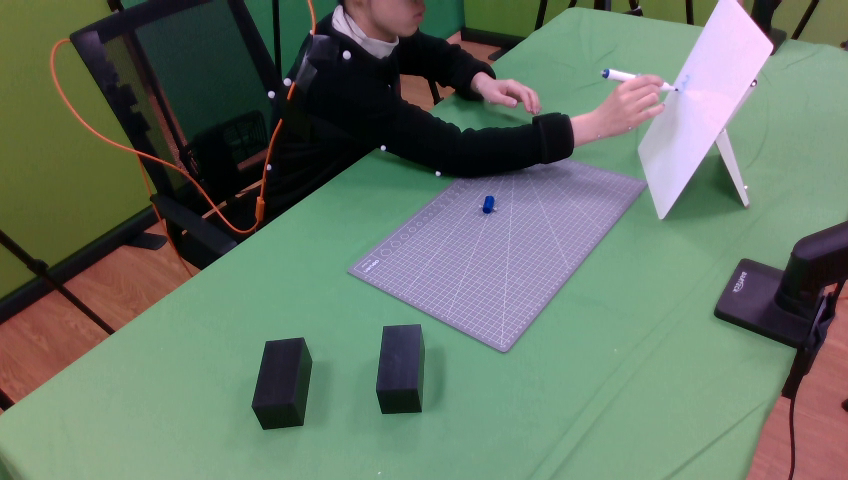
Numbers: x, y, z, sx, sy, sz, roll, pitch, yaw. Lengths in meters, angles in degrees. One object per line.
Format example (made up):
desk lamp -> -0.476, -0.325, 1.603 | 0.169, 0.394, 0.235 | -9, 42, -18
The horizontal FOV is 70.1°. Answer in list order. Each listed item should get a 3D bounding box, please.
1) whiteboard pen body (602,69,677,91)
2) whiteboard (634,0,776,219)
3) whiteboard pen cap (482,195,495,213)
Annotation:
whiteboard pen body -> 0.358, -0.262, 0.999 | 0.141, 0.017, 0.017 | 8, 38, -14
whiteboard -> 0.485, -0.192, 0.956 | 0.144, 0.305, 0.216 | 14, 41, -5
whiteboard pen cap -> 0.109, -0.060, 1.028 | 0.018, 0.018, 0.033 | 6, 45, 15
